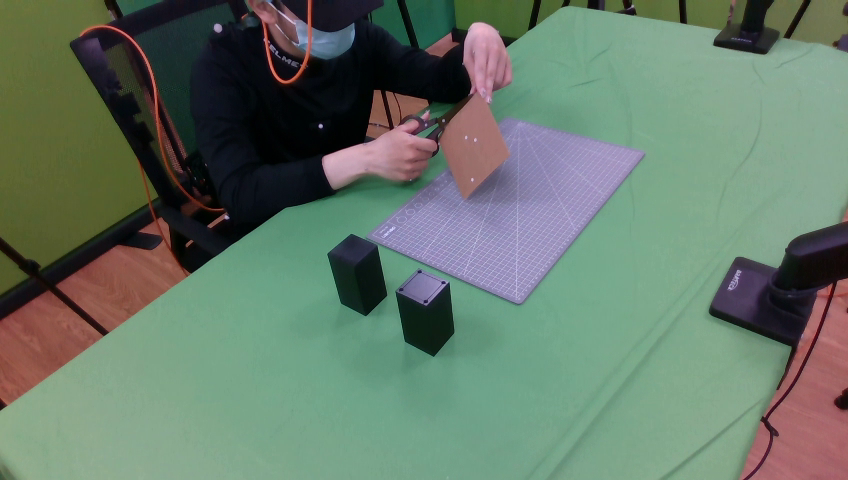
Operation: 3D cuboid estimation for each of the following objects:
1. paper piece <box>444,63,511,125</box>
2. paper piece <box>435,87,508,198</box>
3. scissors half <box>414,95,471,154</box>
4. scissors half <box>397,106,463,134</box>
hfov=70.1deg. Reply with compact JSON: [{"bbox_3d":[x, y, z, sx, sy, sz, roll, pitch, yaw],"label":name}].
[{"bbox_3d":[0.088,-0.255,1.091,0.008,0.135,0.138,49,44,-4],"label":"paper piece"},{"bbox_3d":[0.076,-0.160,1.012,0.004,0.135,0.135,-5,64,-37],"label":"paper piece"},{"bbox_3d":[0.035,-0.202,1.062,0.040,0.174,0.013,37,51,-8],"label":"scissors half"},{"bbox_3d":[0.020,-0.217,1.055,0.174,0.040,0.013,-7,43,36],"label":"scissors half"}]
